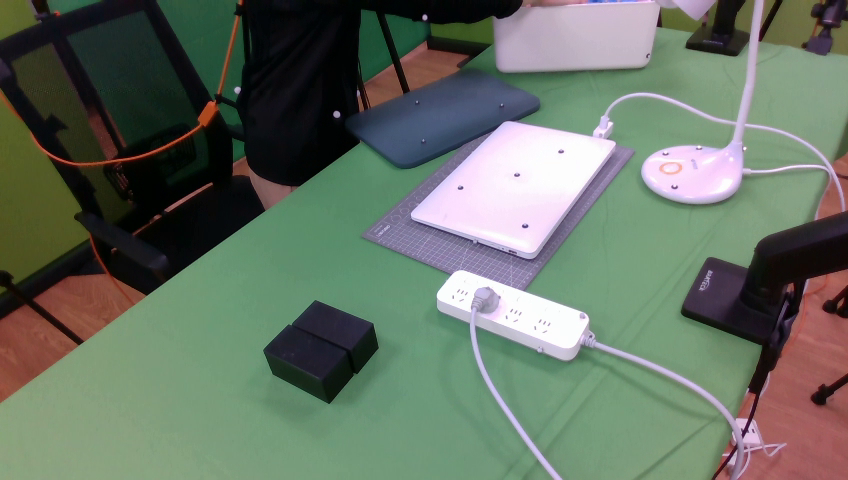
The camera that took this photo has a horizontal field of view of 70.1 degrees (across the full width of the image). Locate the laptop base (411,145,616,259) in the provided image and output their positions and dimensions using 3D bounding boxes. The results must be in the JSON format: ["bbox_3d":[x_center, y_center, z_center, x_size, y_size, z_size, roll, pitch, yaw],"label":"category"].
[{"bbox_3d":[0.168,-0.101,1.074,0.234,0.023,0.355,17,46,30],"label":"laptop base"}]

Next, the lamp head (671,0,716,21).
[{"bbox_3d":[0.375,-0.373,0.807,0.122,0.113,0.112,-40,27,32],"label":"lamp head"}]

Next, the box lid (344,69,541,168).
[{"bbox_3d":[0.040,-0.272,1.300,0.373,0.015,0.261,-28,44,-22],"label":"box lid"}]

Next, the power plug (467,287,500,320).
[{"bbox_3d":[0.073,0.092,0.814,0.035,0.053,0.073,29,54,34],"label":"power plug"}]

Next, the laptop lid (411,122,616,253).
[{"bbox_3d":[0.164,-0.111,1.067,0.240,0.013,0.357,19,46,31],"label":"laptop lid"}]

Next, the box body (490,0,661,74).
[{"bbox_3d":[0.346,-0.520,1.429,0.363,0.161,0.253,0,41,9],"label":"box body"}]

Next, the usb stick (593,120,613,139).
[{"bbox_3d":[0.336,-0.201,1.147,0.021,0.027,0.059,26,53,27],"label":"usb stick"}]

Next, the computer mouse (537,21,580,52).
[{"bbox_3d":[0.334,-0.503,1.488,0.118,0.041,0.062,21,21,-28],"label":"computer mouse"}]

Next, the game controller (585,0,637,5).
[{"bbox_3d":[0.426,-0.548,1.426,0.155,0.052,0.096,-16,45,-10],"label":"game controller"}]

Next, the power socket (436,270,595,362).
[{"bbox_3d":[0.118,0.101,0.832,0.225,0.033,0.072,19,48,27],"label":"power socket"}]

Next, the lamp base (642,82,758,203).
[{"bbox_3d":[0.464,-0.174,0.992,0.179,0.181,0.159,-5,41,-1],"label":"lamp base"}]
